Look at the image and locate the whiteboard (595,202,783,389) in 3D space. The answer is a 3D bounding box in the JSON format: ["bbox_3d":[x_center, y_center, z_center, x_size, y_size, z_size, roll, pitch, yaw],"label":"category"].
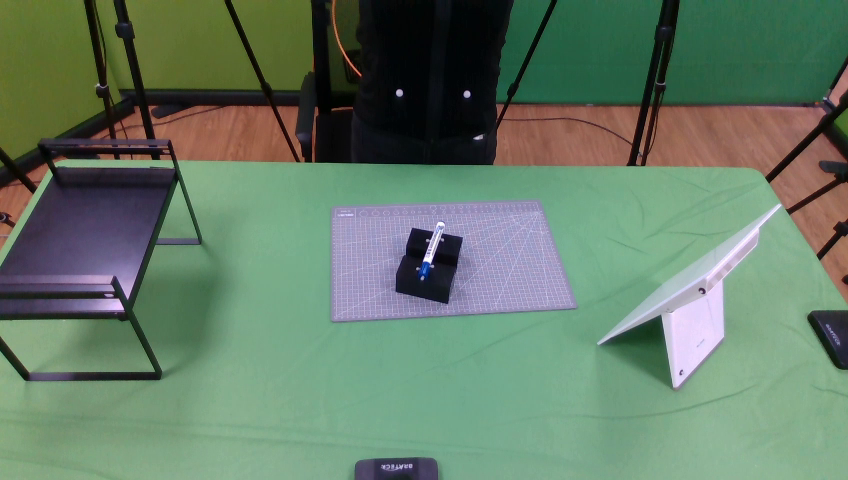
[{"bbox_3d":[0.459,0.112,0.968,0.217,0.306,0.143,-31,74,-29],"label":"whiteboard"}]

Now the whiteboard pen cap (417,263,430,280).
[{"bbox_3d":[0.000,0.053,1.075,0.018,0.018,0.033,13,44,9],"label":"whiteboard pen cap"}]

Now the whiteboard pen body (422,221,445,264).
[{"bbox_3d":[0.015,0.013,1.115,0.017,0.017,0.140,13,45,9],"label":"whiteboard pen body"}]
